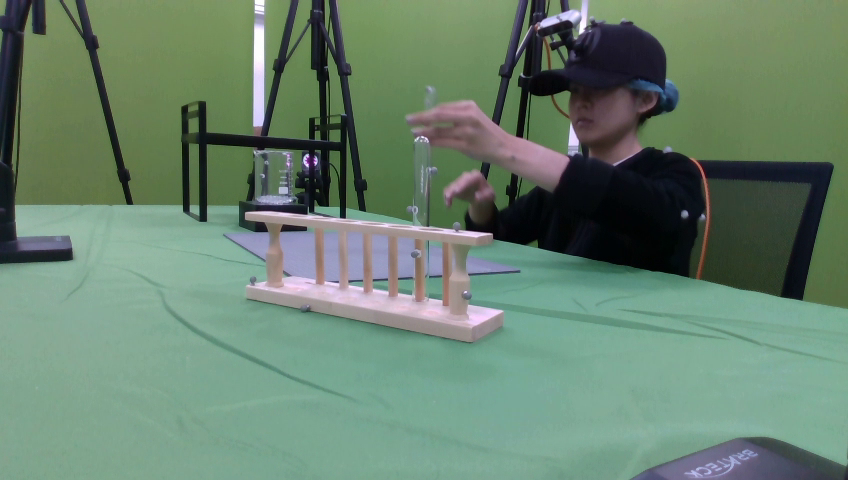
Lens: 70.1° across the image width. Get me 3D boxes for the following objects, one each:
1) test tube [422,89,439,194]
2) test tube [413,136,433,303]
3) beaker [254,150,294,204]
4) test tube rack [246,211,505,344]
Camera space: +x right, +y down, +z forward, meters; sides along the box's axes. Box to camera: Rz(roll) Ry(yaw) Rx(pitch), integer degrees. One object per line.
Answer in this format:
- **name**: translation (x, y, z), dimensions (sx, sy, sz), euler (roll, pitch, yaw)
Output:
- **test tube**: translation (0.009, -0.141, 0.871), dimensions (0.017, 0.150, 0.017), euler (4, 8, 0)
- **test tube**: translation (-0.001, -0.016, 0.538), dimensions (0.017, 0.150, 0.017), euler (1, 8, 0)
- **beaker**: translation (-0.289, -0.120, 1.151), dimensions (0.073, 0.100, 0.084), euler (8, 9, 33)
- **test tube rack**: translation (-0.049, 0.025, 0.547), dimensions (0.241, 0.085, 0.067), euler (7, 8, 29)
